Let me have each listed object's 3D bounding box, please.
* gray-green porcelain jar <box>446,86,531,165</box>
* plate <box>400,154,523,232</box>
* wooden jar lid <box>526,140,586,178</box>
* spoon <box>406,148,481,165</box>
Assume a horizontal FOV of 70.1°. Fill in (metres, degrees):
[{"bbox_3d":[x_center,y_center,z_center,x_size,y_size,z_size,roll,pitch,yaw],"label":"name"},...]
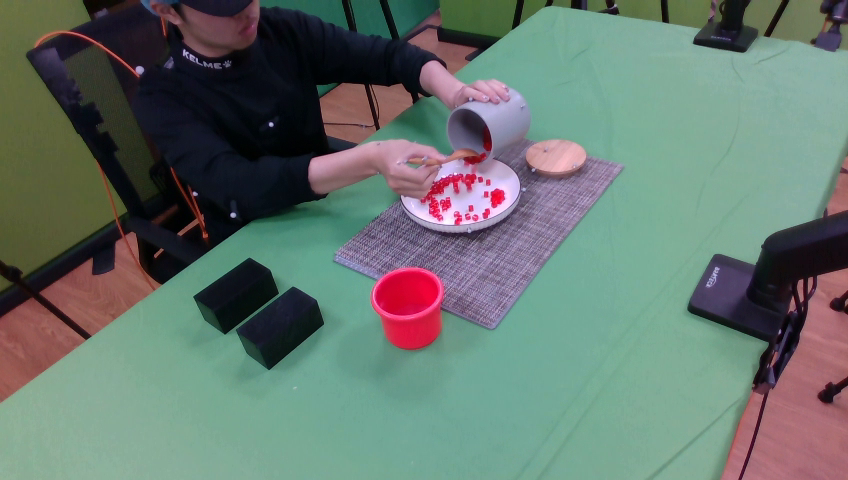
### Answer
[{"bbox_3d":[0.118,-0.205,1.060,0.105,0.106,0.127,26,46,33],"label":"gray-green porcelain jar"},{"bbox_3d":[0.065,-0.078,1.034,0.207,0.039,0.206,-4,41,4],"label":"plate"},{"bbox_3d":[0.240,-0.147,1.103,0.108,0.021,0.108,-4,42,4],"label":"wooden jar lid"},{"bbox_3d":[0.034,-0.131,0.977,0.041,0.021,0.195,21,25,31],"label":"spoon"}]
